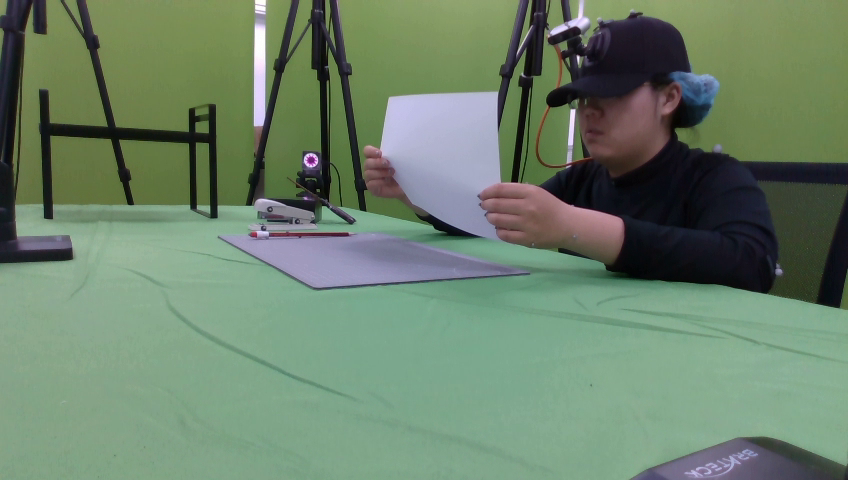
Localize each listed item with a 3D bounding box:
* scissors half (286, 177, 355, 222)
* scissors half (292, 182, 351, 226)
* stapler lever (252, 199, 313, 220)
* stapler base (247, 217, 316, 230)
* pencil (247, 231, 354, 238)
[{"bbox_3d":[-0.229,-0.091,1.337,0.175,0.013,0.040,33,15,-13],"label":"scissors half"},{"bbox_3d":[-0.232,-0.085,1.317,0.175,0.013,0.040,38,20,4],"label":"scissors half"},{"bbox_3d":[-0.273,-0.058,1.170,0.119,0.040,0.026,0,10,-37],"label":"stapler lever"},{"bbox_3d":[-0.276,-0.033,1.172,0.131,0.024,0.041,0,10,-37],"label":"stapler base"},{"bbox_3d":[-0.206,-0.008,1.039,0.195,0.012,0.012,0,8,-36],"label":"pencil"}]
